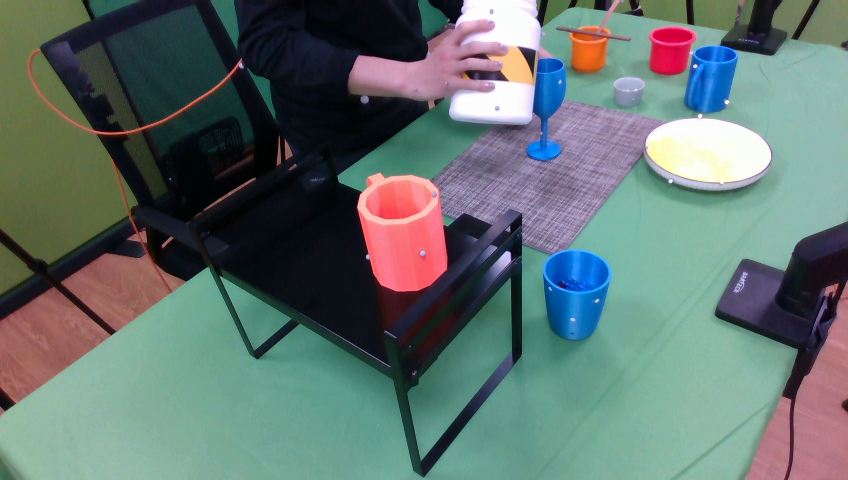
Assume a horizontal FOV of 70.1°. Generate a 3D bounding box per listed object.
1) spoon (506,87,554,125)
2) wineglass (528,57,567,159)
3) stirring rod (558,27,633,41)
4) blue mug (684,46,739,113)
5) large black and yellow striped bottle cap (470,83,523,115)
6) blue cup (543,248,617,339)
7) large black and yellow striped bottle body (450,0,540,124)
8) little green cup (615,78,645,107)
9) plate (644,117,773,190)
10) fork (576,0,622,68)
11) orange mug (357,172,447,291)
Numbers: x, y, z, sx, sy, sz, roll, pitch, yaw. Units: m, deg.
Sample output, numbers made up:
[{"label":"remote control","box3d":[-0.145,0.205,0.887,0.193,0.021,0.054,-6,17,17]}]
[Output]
[{"label":"spoon","box3d":[0.227,-0.285,1.269,0.041,0.022,0.194,3,37,44]},{"label":"wineglass","box3d":[0.221,-0.237,1.098,0.074,0.173,0.073,-4,41,4]},{"label":"stirring rod","box3d":[0.381,-0.463,1.356,0.175,0.006,0.014,21,47,30]},{"label":"blue mug","box3d":[0.556,-0.310,1.190,0.117,0.106,0.081,-32,46,-25]},{"label":"large black and yellow striped bottle cap","box3d":[0.156,-0.307,1.316,0.115,0.019,0.114,-7,39,6]},{"label":"blue cup","box3d":[0.199,0.076,0.797,0.092,0.100,0.092,-4,39,4]},{"label":"large black and yellow striped bottle body","box3d":[0.110,-0.276,0.935,0.131,0.184,0.130,4,9,0]},{"label":"little green cup","box3d":[0.426,-0.306,1.257,0.061,0.039,0.061,-4,40,4]},{"label":"plate","box3d":[0.495,-0.148,1.063,0.209,0.038,0.208,-5,40,4]},{"label":"fork","box3d":[0.409,-0.484,1.381,0.028,0.019,0.207,37,101,45]},{"label":"orange mug","box3d":[-0.030,-0.018,0.669,0.084,0.101,0.125,-23,47,-16]}]
